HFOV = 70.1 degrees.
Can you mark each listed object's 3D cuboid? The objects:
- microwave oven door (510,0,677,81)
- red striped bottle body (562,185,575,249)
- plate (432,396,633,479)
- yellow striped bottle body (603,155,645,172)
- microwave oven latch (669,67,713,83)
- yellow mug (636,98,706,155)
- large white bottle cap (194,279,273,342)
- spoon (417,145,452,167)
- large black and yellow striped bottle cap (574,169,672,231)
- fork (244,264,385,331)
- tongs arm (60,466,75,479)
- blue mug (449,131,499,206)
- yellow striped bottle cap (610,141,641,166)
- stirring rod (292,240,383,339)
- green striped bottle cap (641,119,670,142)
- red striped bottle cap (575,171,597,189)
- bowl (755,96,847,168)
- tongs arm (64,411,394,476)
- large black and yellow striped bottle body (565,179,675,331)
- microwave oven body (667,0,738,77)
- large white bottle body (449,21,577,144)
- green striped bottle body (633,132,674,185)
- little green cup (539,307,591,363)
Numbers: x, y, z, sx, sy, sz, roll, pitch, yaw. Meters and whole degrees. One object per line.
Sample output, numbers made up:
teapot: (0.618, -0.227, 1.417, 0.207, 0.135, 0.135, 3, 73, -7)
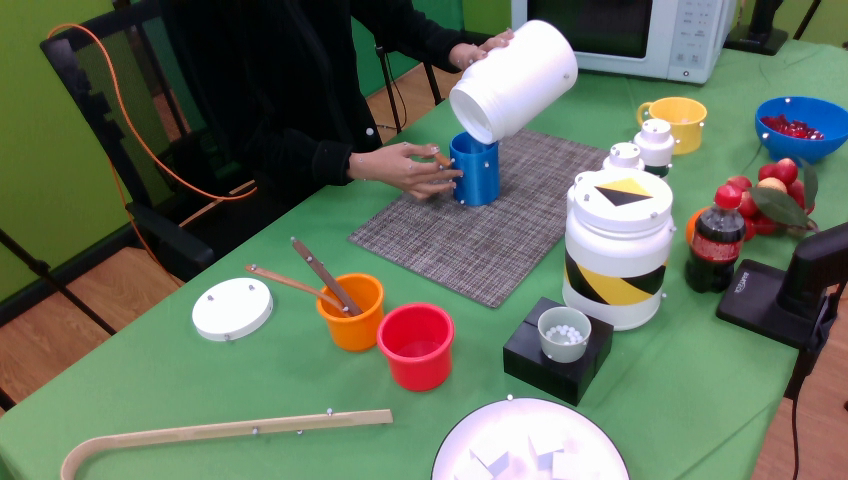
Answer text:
microwave oven door: (0.354, -0.478, 1.290, 0.353, 0.245, 0.039, 15, 45, 25)
red striped bottle body: (0.246, -0.041, 0.910, 0.063, 0.120, 0.063, 0, 38, 0)
plate: (0.112, 0.261, 0.634, 0.209, 0.038, 0.208, -5, 40, 4)
yellow striped bottle body: (0.314, -0.091, 0.958, 0.063, 0.121, 0.062, -4, 40, 4)
microwave oven latch: (0.556, -0.349, 1.261, 0.078, 0.029, 0.030, 16, 46, 27)
yellow mug: (0.453, -0.217, 1.128, 0.100, 0.064, 0.129, -34, 45, -27)
large white bottle cap: (-0.284, 0.103, 0.902, 0.115, 0.018, 0.114, -4, 40, 4)
spoon: (0.018, -0.141, 1.018, 0.041, 0.022, 0.193, -24, 15, -3)
large black and yellow striped bottle cap: (0.242, -0.051, 0.738, 0.115, 0.019, 0.114, -4, 37, 3)
fork: (-0.142, 0.078, 0.806, 0.209, 0.018, 0.028, 30, 33, -23)
tongs arm: (-0.239, 0.301, 0.649, 0.386, 0.028, 0.028, 6, 49, 16)
blue mug: (0.090, -0.134, 1.050, 0.082, 0.106, 0.116, 1, 41, 10)
yellow striped bottle cap: (0.308, -0.131, 0.925, 0.044, 0.019, 0.044, -3, 47, 4)
stirring rod: (-0.118, 0.068, 0.825, 0.176, 0.006, 0.014, 48, 59, -3)
green striped bottle cap: (0.371, -0.175, 0.968, 0.044, 0.020, 0.044, -4, 42, 4)
red striped bottle cap: (0.242, -0.081, 0.876, 0.044, 0.018, 0.044, -5, 44, 5)
bowl: (0.645, -0.177, 1.041, 0.151, 0.077, 0.150, -5, 40, 4)
tongs arm: (-0.228, 0.241, 0.715, 0.385, 0.026, 0.050, -5, 44, 5)
large black and yellow striped bottle body: (0.254, 0.014, 0.793, 0.131, 0.185, 0.130, -5, 40, 4)
microwave oven body: (0.462, -0.552, 1.369, 0.439, 0.261, 0.326, 15, 45, 26)
large white bottle body: (0.143, -0.254, 0.993, 0.185, 0.131, 0.129, -40, 47, -11)
green striped bottle body: (0.376, -0.135, 1.001, 0.063, 0.120, 0.063, -5, 41, 5)
little green cup: (0.167, 0.114, 0.721, 0.061, 0.039, 0.061, -4, 43, 4)
